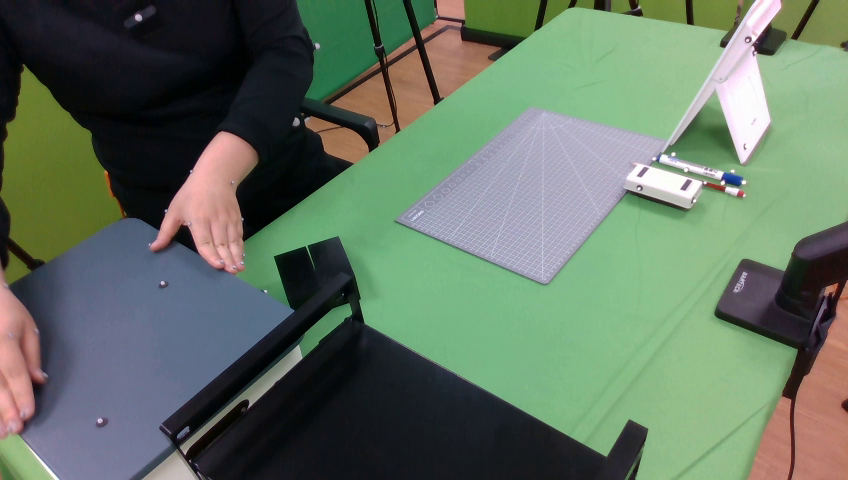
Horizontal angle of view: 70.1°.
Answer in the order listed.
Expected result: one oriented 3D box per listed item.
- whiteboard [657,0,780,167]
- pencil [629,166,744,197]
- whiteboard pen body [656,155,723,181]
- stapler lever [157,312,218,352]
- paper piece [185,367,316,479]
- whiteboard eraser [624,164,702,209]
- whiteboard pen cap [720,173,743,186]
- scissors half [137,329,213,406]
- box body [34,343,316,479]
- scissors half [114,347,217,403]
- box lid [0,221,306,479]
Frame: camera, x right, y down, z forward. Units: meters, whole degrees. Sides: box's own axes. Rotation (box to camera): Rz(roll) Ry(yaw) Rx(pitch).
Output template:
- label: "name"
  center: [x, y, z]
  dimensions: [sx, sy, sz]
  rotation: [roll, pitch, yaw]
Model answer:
- label: "whiteboard"
  center: [0.571, -0.272, 1.038]
  dimensions: [0.143, 0.306, 0.218]
  rotation: [37, 54, 17]
- label: "pencil"
  center: [0.447, -0.103, 1.038]
  dimensions: [0.192, 0.012, 0.012]
  rotation: [21, 48, 29]
- label: "whiteboard pen body"
  center: [0.475, -0.123, 1.052]
  dimensions: [0.139, 0.017, 0.017]
  rotation: [24, 50, 32]
- label: "stapler lever"
  center: [-0.330, 0.121, 0.838]
  dimensions: [0.117, 0.040, 0.027]
  rotation: [18, 36, 33]
- label: "paper piece"
  center: [-0.222, 0.234, 0.757]
  dimensions: [0.136, 0.009, 0.137]
  rotation: [-39, 36, -23]
- label: "whiteboard eraser"
  center: [0.396, -0.087, 1.003]
  dimensions: [0.112, 0.042, 0.056]
  rotation: [22, 48, 31]
- label: "whiteboard pen cap"
  center: [0.519, -0.103, 1.020]
  dimensions: [0.033, 0.018, 0.018]
  rotation: [23, 49, 30]
- label: "scissors half"
  center: [-0.336, 0.173, 0.824]
  dimensions: [0.040, 0.013, 0.174]
  rotation: [-35, 54, -30]
- label: "box body"
  center: [-0.339, 0.161, 0.728]
  dimensions: [0.361, 0.161, 0.255]
  rotation: [23, 49, 31]
- label: "scissors half"
  center: [-0.349, 0.185, 0.812]
  dimensions: [0.174, 0.013, 0.040]
  rotation: [16, 52, 18]
- label: "box lid"
  center: [-0.339, 0.102, 0.675]
  dimensions: [0.368, 0.015, 0.264]
  rotation: [23, 47, 30]
